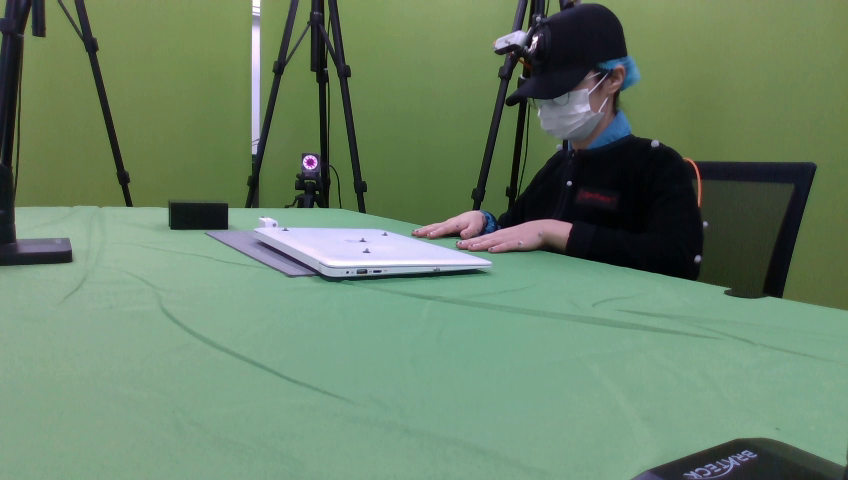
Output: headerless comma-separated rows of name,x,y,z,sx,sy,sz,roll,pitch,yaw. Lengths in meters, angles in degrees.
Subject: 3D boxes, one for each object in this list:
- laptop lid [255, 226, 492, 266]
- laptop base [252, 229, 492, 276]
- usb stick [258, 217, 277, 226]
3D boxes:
laptop lid,-0.092,0.003,0.888,0.243,0.013,0.355,1,8,-28
laptop base,-0.094,0.015,0.889,0.237,0.023,0.352,2,7,-30
usb stick,-0.261,-0.022,1.016,0.021,0.027,0.059,0,13,-29
